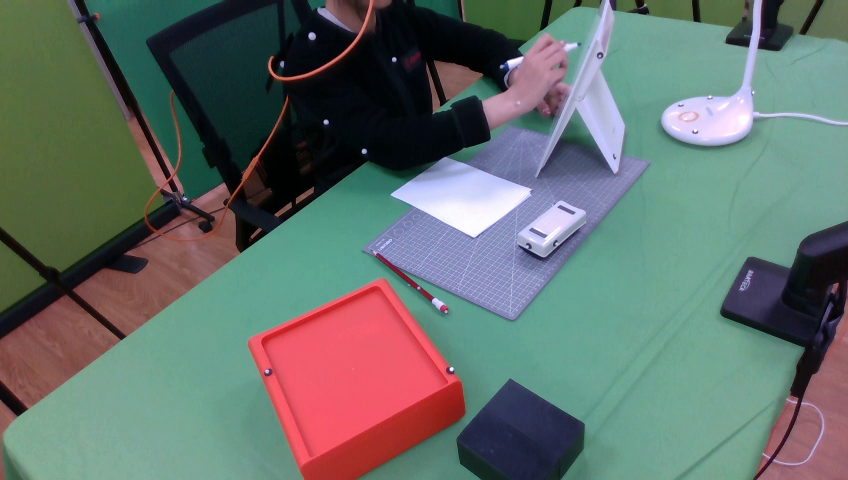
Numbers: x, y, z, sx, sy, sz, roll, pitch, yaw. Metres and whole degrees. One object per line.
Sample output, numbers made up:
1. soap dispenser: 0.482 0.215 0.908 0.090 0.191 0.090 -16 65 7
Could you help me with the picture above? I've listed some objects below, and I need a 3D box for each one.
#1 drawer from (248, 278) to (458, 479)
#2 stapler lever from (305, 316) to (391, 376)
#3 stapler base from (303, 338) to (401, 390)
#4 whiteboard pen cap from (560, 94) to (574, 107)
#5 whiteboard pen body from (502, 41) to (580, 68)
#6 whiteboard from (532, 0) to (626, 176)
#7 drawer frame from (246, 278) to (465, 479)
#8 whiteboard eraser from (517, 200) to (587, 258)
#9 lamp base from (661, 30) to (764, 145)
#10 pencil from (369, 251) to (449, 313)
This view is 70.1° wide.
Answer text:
1. drawer: -0.092 0.167 0.756 0.195 0.073 0.210 -24 43 -18
2. stapler lever: -0.100 0.136 0.790 0.118 0.040 0.026 -23 44 -12
3. stapler base: -0.096 0.159 0.813 0.131 0.024 0.041 -17 42 -17
4. whiteboard pen cap: 0.301 -0.293 1.272 0.018 0.018 0.033 26 50 34
5. whiteboard pen body: 0.210 -0.334 1.084 0.141 0.017 0.017 -15 40 5
6. whiteboard: 0.322 -0.259 1.050 0.144 0.306 0.217 22 45 5
7. drawer frame: -0.088 0.168 0.752 0.202 0.083 0.211 -24 43 -18
8. whiteboard eraser: 0.201 -0.016 0.943 0.113 0.042 0.055 -37 46 -29
9. lamp base: 0.535 -0.287 1.096 0.179 0.181 0.159 -10 40 -4
10. pencil: -0.028 0.060 0.924 0.012 0.012 0.192 -33 46 -25
